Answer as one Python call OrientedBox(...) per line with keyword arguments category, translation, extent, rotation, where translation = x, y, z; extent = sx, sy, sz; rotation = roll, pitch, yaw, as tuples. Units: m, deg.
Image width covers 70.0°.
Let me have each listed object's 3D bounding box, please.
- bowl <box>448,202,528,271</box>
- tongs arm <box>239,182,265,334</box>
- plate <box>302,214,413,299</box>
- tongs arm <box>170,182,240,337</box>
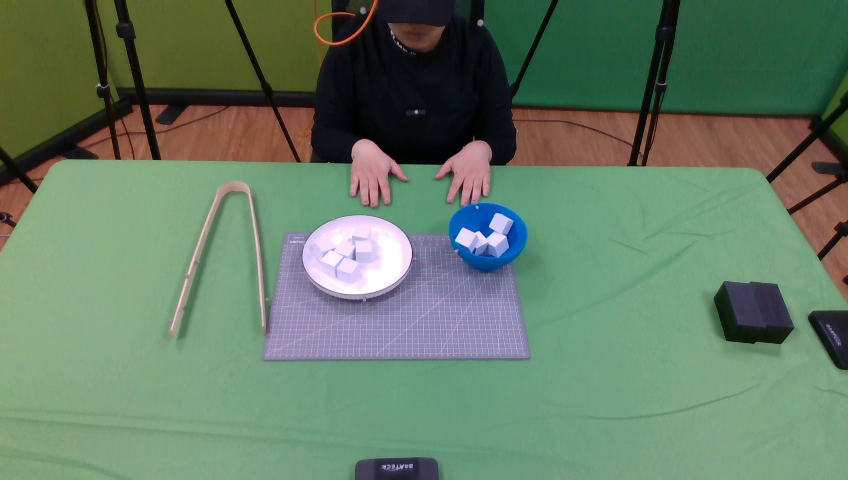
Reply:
OrientedBox(category="bowl", translation=(0.118, 0.006, 1.160), extent=(0.151, 0.077, 0.150), rotation=(2, 46, -2))
OrientedBox(category="tongs arm", translation=(-0.325, 0.020, 1.151), extent=(0.028, 0.028, 0.384), rotation=(-11, 47, -11))
OrientedBox(category="plate", translation=(-0.124, 0.033, 1.143), extent=(0.208, 0.039, 0.206), rotation=(2, 46, -2))
OrientedBox(category="tongs arm", translation=(-0.403, 0.021, 1.138), extent=(0.051, 0.026, 0.382), rotation=(1, 45, -5))
